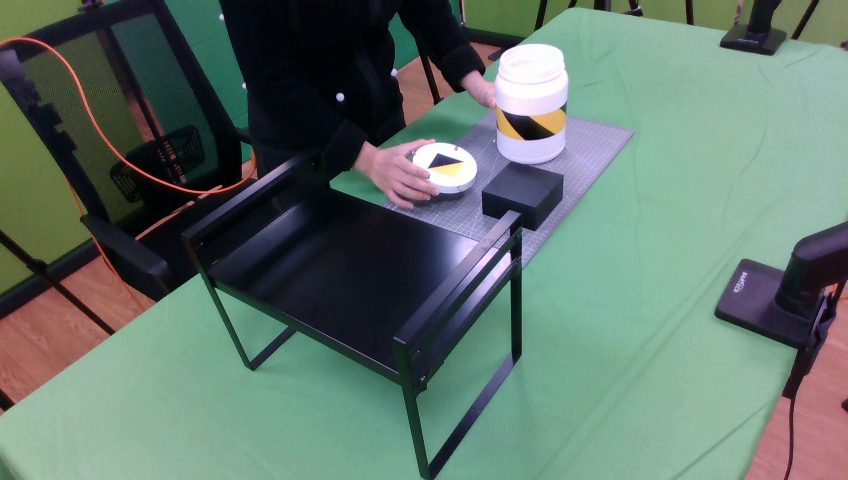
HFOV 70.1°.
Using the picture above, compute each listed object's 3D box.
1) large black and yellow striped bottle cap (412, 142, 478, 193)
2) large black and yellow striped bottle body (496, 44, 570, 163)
[{"bbox_3d":[0.037,-0.128,1.056,0.115,0.019,0.114,6,49,-7],"label":"large black and yellow striped bottle cap"},{"bbox_3d":[0.199,-0.250,1.107,0.131,0.185,0.130,-5,40,4],"label":"large black and yellow striped bottle body"}]
